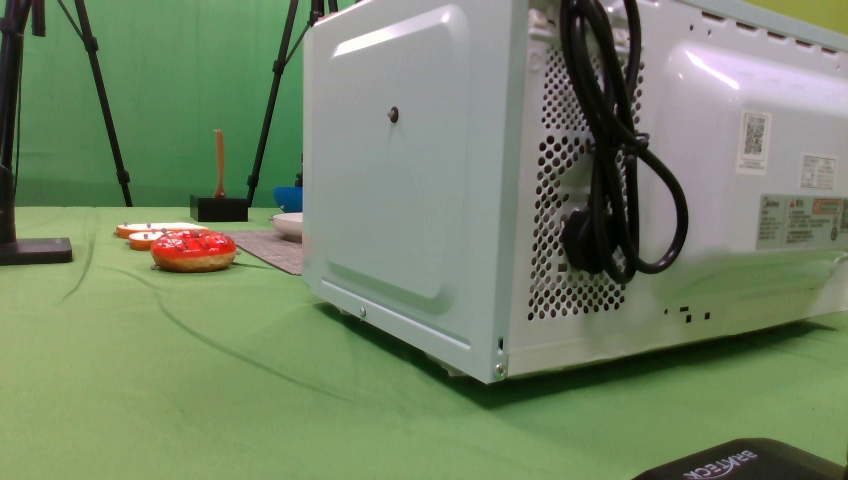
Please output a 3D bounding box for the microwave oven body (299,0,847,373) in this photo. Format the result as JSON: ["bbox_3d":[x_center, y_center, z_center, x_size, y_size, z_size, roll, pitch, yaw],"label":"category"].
[{"bbox_3d":[0.152,-0.055,0.542,0.444,0.260,0.324,-2,7,-33],"label":"microwave oven body"}]

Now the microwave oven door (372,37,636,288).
[{"bbox_3d":[0.110,-0.080,0.686,0.358,0.243,0.039,-2,9,-33],"label":"microwave oven door"}]

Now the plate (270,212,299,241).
[{"bbox_3d":[-0.162,-0.022,1.058,0.208,0.039,0.207,2,7,0],"label":"plate"}]

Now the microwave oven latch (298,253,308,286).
[{"bbox_3d":[-0.081,0.027,0.582,0.079,0.029,0.030,-1,7,-32],"label":"microwave oven latch"}]

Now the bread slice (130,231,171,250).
[{"bbox_3d":[-0.370,0.001,0.916,0.135,0.018,0.106,-1,7,-32],"label":"bread slice"}]

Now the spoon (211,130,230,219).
[{"bbox_3d":[-0.436,-0.138,1.296,0.042,0.193,0.021,-4,23,-28],"label":"spoon"}]

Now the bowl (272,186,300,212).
[{"bbox_3d":[-0.254,-0.075,1.318,0.151,0.077,0.151,2,7,0],"label":"bowl"}]

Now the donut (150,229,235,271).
[{"bbox_3d":[-0.285,0.013,0.747,0.099,0.048,0.099,3,9,0],"label":"donut"}]

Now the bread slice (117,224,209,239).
[{"bbox_3d":[-0.443,-0.015,1.023,0.104,0.019,0.132,8,8,44],"label":"bread slice"}]
